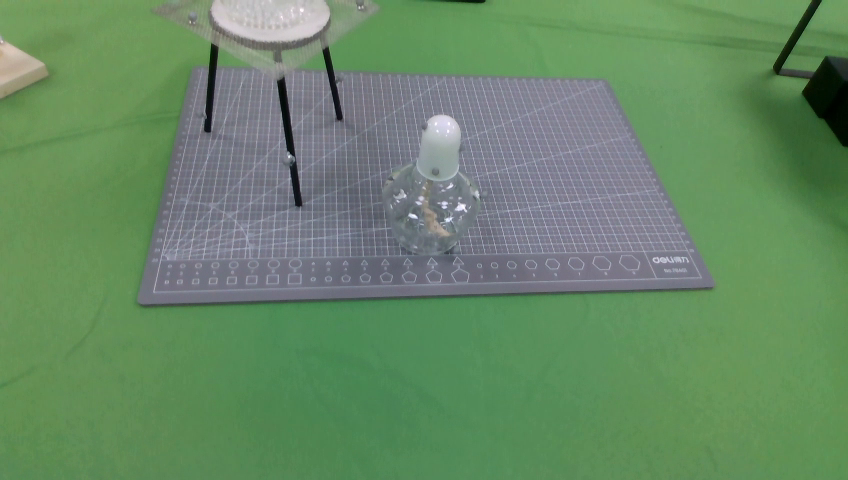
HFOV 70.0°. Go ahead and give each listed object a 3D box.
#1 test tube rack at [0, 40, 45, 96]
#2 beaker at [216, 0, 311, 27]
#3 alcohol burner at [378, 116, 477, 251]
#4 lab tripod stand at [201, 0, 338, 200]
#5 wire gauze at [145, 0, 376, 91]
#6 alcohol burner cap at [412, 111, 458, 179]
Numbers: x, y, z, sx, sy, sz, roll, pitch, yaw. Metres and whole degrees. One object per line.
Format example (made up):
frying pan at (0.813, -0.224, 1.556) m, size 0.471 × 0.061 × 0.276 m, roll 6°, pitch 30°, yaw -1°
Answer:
test tube rack at (-0.453, -0.131, 0.490) m, size 0.066 × 0.086 × 0.241 m, roll 29°, pitch 51°, yaw 16°
beaker at (-0.117, -0.208, 0.419) m, size 0.073 × 0.101 × 0.084 m, roll 36°, pitch 55°, yaw 21°
alcohol burner at (0.005, -0.048, 0.464) m, size 0.078 × 0.120 × 0.077 m, roll 5°, pitch 48°, yaw -6°
lab tripod stand at (-0.123, -0.128, 0.501) m, size 0.149 × 0.132 × 0.147 m, roll 6°, pitch 49°, yaw -6°
wire gauze at (-0.118, -0.171, 0.453) m, size 0.124 × 0.011 × 0.121 m, roll 32°, pitch 54°, yaw 13°
alcohol burner cap at (0.009, -0.070, 0.436) m, size 0.034 × 0.048 × 0.033 m, roll 3°, pitch 53°, yaw -3°
